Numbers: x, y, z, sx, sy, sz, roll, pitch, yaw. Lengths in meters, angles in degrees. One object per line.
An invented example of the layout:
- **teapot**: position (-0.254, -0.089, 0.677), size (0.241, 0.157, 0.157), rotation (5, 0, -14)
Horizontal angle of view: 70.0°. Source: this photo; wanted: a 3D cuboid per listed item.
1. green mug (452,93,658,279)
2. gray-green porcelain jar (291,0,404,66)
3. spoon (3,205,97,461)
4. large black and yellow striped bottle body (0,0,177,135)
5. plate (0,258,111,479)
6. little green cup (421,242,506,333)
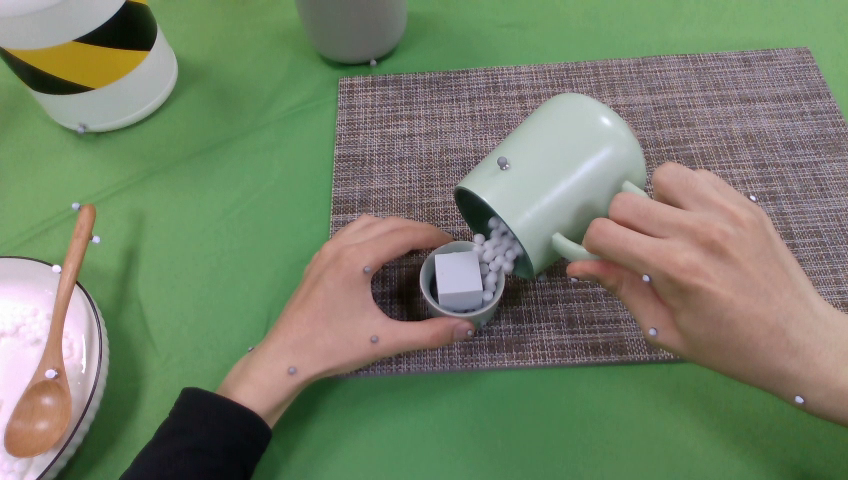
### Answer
- **green mug**: position (0.093, -0.029, 0.397), size (0.105, 0.093, 0.124), rotation (-40, 42, -11)
- **gray-green porcelain jar**: position (-0.074, -0.238, 0.568), size (0.106, 0.127, 0.105), rotation (-2, 59, 3)
- **spoon**: position (-0.261, 0.058, 0.437), size (0.041, 0.022, 0.192), rotation (-1, 67, 2)
- **large black and yellow striped bottle body**: position (-0.313, -0.196, 0.524), size (0.131, 0.185, 0.129), rotation (-2, 59, 3)
- **plate**: position (-0.322, 0.111, 0.428), size (0.209, 0.038, 0.207), rotation (-1, 59, 3)
- **little green cup**: position (0.028, 0.037, 0.444), size (0.061, 0.039, 0.061), rotation (0, 57, 0)
